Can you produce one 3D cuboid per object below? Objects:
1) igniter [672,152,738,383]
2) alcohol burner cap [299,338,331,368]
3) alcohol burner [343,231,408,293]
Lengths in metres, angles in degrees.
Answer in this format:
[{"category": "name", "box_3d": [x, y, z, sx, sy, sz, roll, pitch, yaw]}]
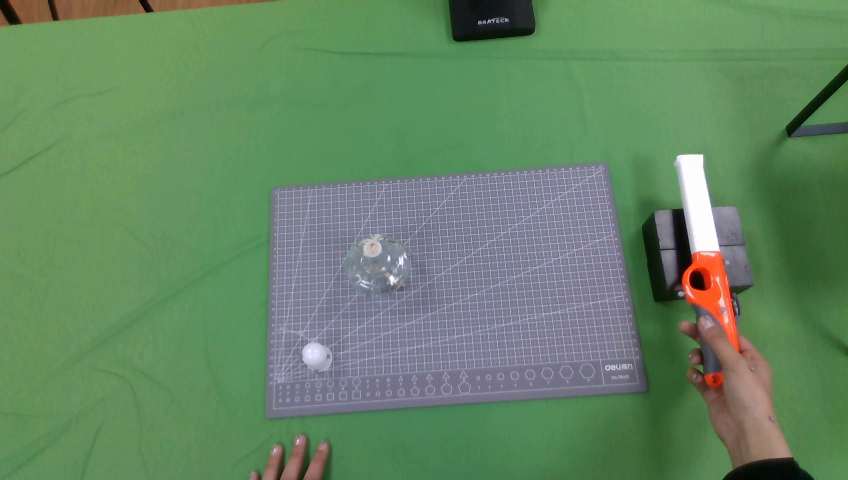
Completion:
[{"category": "igniter", "box_3d": [0.315, 0.023, 0.685, 0.057, 0.025, 0.274, 0, 67, 4]}, {"category": "alcohol burner cap", "box_3d": [-0.130, 0.132, 0.714, 0.034, 0.048, 0.033, -1, 71, 3]}, {"category": "alcohol burner", "box_3d": [-0.059, 0.020, 0.712, 0.078, 0.120, 0.077, 0, 70, 0]}]
